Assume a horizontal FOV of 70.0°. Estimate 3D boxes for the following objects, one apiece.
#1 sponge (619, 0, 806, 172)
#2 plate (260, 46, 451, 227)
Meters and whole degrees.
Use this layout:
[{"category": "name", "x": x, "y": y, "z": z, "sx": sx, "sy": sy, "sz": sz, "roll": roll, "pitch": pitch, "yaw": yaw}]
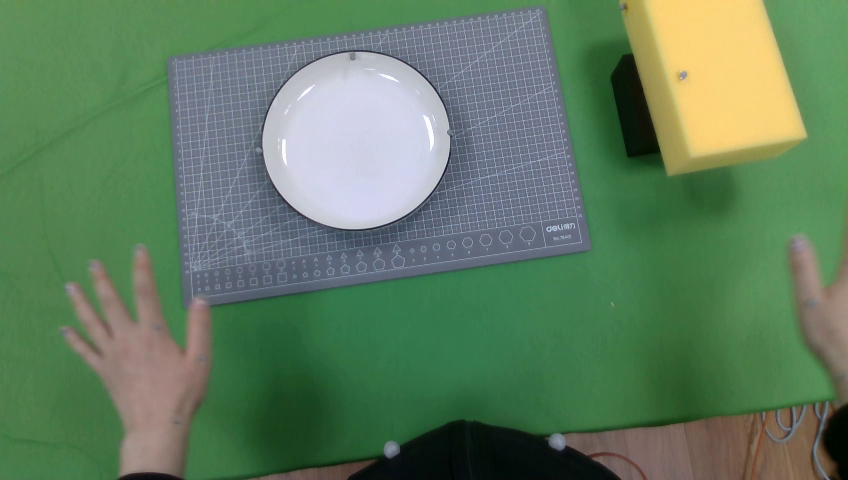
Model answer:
[{"category": "sponge", "x": 0.290, "y": -0.184, "z": 0.623, "sx": 0.118, "sy": 0.061, "sz": 0.206, "roll": -12, "pitch": 79, "yaw": -2}, {"category": "plate", "x": -0.074, "y": -0.112, "z": 0.673, "sx": 0.209, "sy": 0.038, "sz": 0.208, "roll": 0, "pitch": 79, "yaw": 0}]
